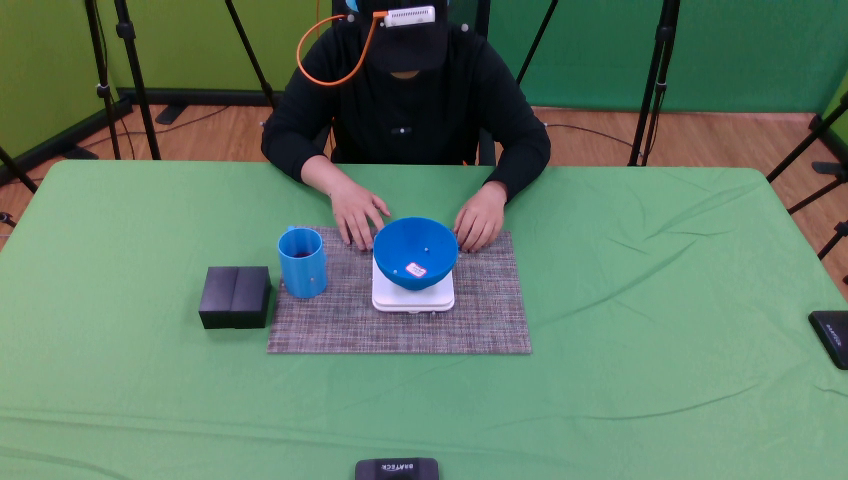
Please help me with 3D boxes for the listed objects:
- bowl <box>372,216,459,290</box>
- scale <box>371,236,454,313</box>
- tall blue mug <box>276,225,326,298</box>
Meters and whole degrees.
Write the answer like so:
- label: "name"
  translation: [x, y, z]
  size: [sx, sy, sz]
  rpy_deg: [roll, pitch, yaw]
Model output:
- label: "bowl"
  translation: [-0.016, 0.036, 1.075]
  size: [0.151, 0.077, 0.150]
  rpy_deg: [2, 46, -1]
- label: "scale"
  translation: [-0.022, 0.051, 1.134]
  size: [0.149, 0.032, 0.199]
  rpy_deg: [1, 46, -4]
- label: "tall blue mug"
  translation: [-0.228, 0.033, 1.083]
  size: [0.107, 0.108, 0.077]
  rpy_deg: [30, 53, 23]
